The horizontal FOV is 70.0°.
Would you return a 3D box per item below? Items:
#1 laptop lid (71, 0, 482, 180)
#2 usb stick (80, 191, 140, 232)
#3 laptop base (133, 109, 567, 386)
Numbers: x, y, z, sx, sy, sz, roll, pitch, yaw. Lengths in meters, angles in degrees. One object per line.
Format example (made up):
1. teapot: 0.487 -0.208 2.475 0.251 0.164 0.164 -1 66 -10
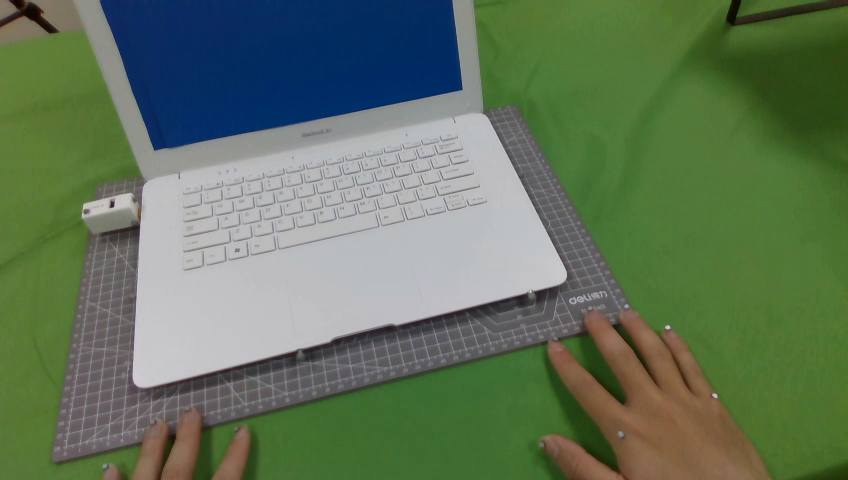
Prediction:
1. laptop lid: -0.125 -0.197 0.569 0.357 0.243 0.013 -15 29 -7
2. usb stick: -0.284 -0.028 0.565 0.059 0.027 0.021 -11 48 -10
3. laptop base: -0.078 -0.010 0.552 0.355 0.023 0.233 -13 53 -8
